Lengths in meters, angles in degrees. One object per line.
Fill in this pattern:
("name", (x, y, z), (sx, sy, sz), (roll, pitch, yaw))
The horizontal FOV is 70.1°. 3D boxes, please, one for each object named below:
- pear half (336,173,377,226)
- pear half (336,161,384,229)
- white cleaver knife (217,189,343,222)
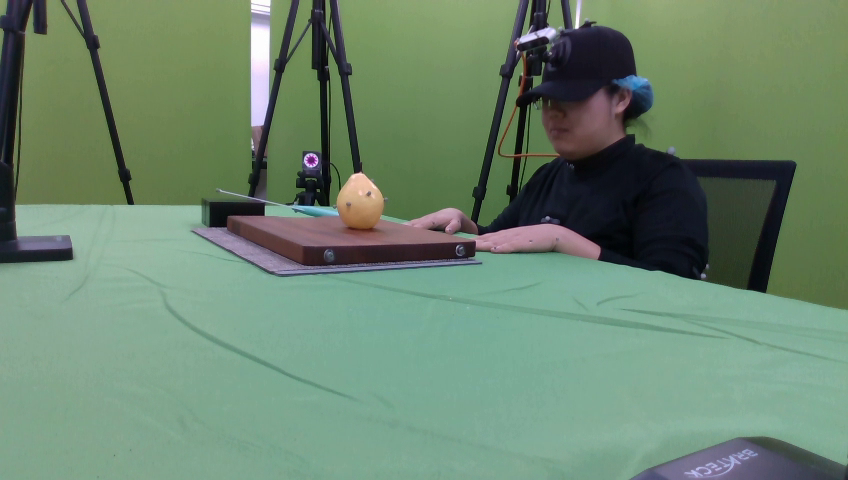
("pear half", (-0.116, -0.067, 1.004), (0.071, 0.088, 0.031), (-11, 13, -30))
("pear half", (-0.099, -0.072, 0.972), (0.077, 0.110, 0.055), (-7, 11, -31))
("white cleaver knife", (-0.275, -0.066, 1.233), (0.288, 0.021, 0.065), (11, 6, -29))
